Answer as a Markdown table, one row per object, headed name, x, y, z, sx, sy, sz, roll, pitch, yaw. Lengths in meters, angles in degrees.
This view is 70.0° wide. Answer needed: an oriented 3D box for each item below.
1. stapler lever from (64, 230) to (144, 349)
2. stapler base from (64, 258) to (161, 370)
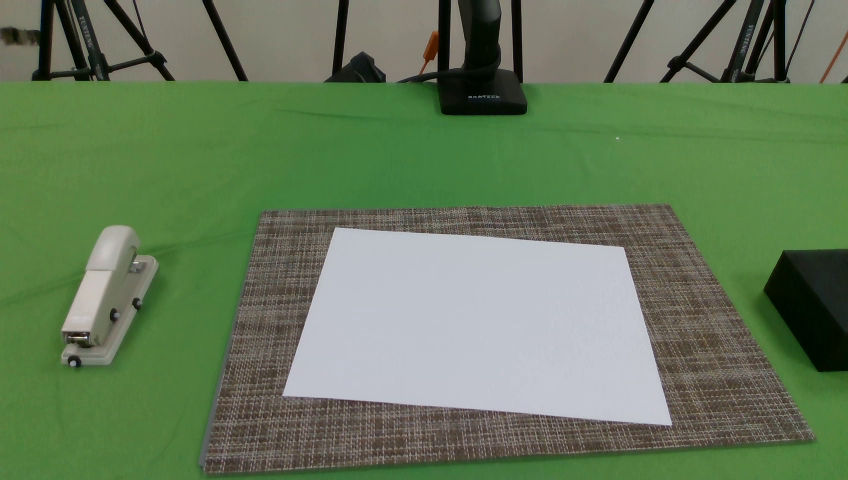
| name | x | y | z | sx | sy | sz | roll | pitch | yaw |
| --- | --- | --- | --- | --- | --- | --- | --- | --- | --- |
| stapler lever | -0.270 | 0.038 | 0.514 | 0.027 | 0.040 | 0.117 | 0 | 40 | 0 |
| stapler base | -0.271 | 0.055 | 0.531 | 0.041 | 0.024 | 0.129 | 0 | 41 | 0 |
